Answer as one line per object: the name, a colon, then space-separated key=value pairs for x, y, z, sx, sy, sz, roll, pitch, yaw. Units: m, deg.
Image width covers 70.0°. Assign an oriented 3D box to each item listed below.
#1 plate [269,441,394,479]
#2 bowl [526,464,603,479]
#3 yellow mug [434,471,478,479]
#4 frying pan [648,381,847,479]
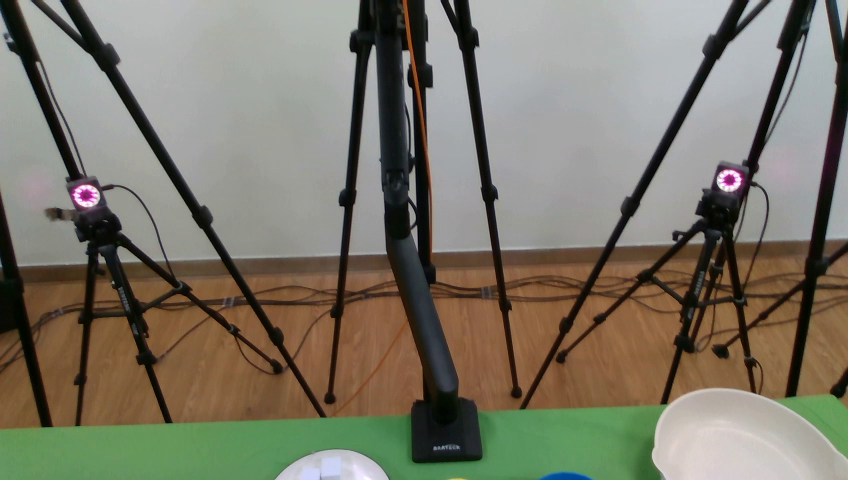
plate: x=-0.146 y=0.409 z=0.937 sx=0.208 sy=0.039 sz=0.205 roll=0 pitch=37 yaw=1
bowl: x=0.210 y=0.417 z=0.890 sx=0.151 sy=0.077 sz=0.150 roll=0 pitch=38 yaw=1
yellow mug: x=0.058 y=0.417 z=0.901 sx=0.100 sy=0.064 sz=0.129 roll=-27 pitch=45 yaw=-29
frying pan: x=0.501 y=0.409 z=0.875 sx=0.307 sy=0.103 sz=0.484 roll=1 pitch=29 yaw=4
